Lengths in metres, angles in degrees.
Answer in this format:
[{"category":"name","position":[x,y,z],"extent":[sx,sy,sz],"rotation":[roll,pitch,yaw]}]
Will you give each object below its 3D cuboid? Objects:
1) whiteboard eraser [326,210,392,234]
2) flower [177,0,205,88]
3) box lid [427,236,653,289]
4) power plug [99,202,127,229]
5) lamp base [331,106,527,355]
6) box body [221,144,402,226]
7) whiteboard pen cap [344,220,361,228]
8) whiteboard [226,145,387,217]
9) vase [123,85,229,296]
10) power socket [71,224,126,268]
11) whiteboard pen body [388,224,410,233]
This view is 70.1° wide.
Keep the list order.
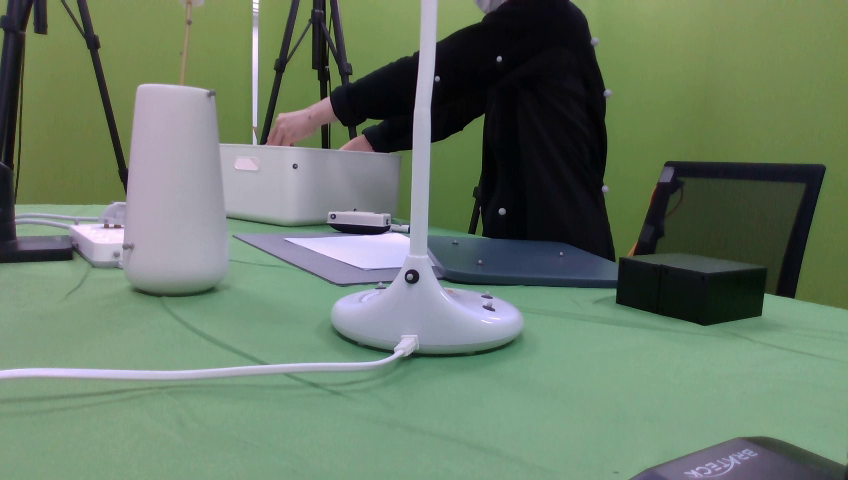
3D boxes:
[{"category":"whiteboard eraser","position":[-0.121,-0.034,1.131],"extent":[0.112,0.042,0.056],"rotation":[4,8,13]},{"category":"flower","position":[-0.243,-0.131,0.609],"extent":[0.044,0.361,0.038],"rotation":[-5,-12,12]},{"category":"box lid","position":[0.139,0.028,0.886],"extent":[0.264,0.015,0.371],"rotation":[2,7,-6]},{"category":"power plug","position":[-0.415,-0.026,0.848],"extent":[0.073,0.052,0.035],"rotation":[6,5,-28]},{"category":"lamp base","position":[0.006,-0.012,0.478],"extent":[0.161,0.180,0.179],"rotation":[2,10,2]},{"category":"box body","position":[-0.254,-0.128,1.379],"extent":[0.253,0.160,0.366],"rotation":[8,9,36]},{"category":"whiteboard pen cap","position":[-0.144,-0.032,1.230],"extent":[0.033,0.018,0.018],"rotation":[6,8,17]},{"category":"whiteboard","position":[-0.267,-0.145,1.374],"extent":[0.216,0.144,0.307],"rotation":[2,11,37]},{"category":"vase","position":[-0.244,-0.047,0.598],"extent":[0.098,0.200,0.098],"rotation":[3,8,0]},{"category":"power socket","position":[-0.409,0.004,0.793],"extent":[0.072,0.032,0.225],"rotation":[-2,8,-37]},{"category":"whiteboard pen body","position":[-0.088,-0.026,1.214],"extent":[0.140,0.017,0.017],"rotation":[5,8,18]}]
